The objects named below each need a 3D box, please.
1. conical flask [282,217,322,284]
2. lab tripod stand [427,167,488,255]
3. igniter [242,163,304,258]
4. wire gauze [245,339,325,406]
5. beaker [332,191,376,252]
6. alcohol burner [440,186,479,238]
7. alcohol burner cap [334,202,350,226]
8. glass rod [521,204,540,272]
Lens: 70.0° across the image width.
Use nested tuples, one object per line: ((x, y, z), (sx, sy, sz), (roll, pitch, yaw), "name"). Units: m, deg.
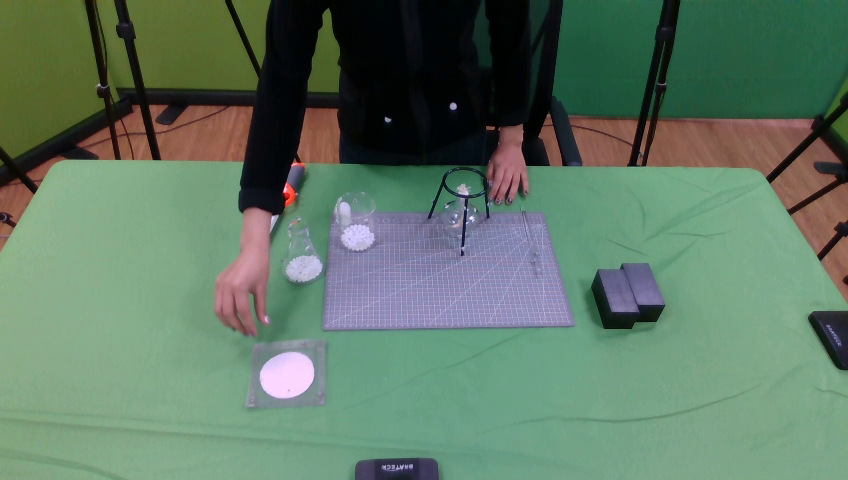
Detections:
((-0.225, 0.016, 1.097), (0.075, 0.122, 0.075), (2, 46, -2), "conical flask")
((0.076, -0.068, 1.191), (0.148, 0.132, 0.147), (2, 44, -2), "lab tripod stand")
((-0.305, -0.069, 1.239), (0.057, 0.025, 0.275), (2, 45, 12), "igniter")
((-0.224, 0.214, 0.984), (0.125, 0.011, 0.120), (-3, 46, -4), "wire gauze")
((-0.133, -0.032, 1.163), (0.084, 0.101, 0.073), (-19, 50, -20), "beaker")
((0.072, -0.062, 1.198), (0.078, 0.119, 0.077), (3, 47, -3), "alcohol burner")
((-0.166, -0.055, 1.223), (0.034, 0.048, 0.033), (2, 46, -2), "alcohol burner cap")
((0.215, -0.008, 1.230), (0.008, 0.008, 0.198), (0, 43, -3), "glass rod")
